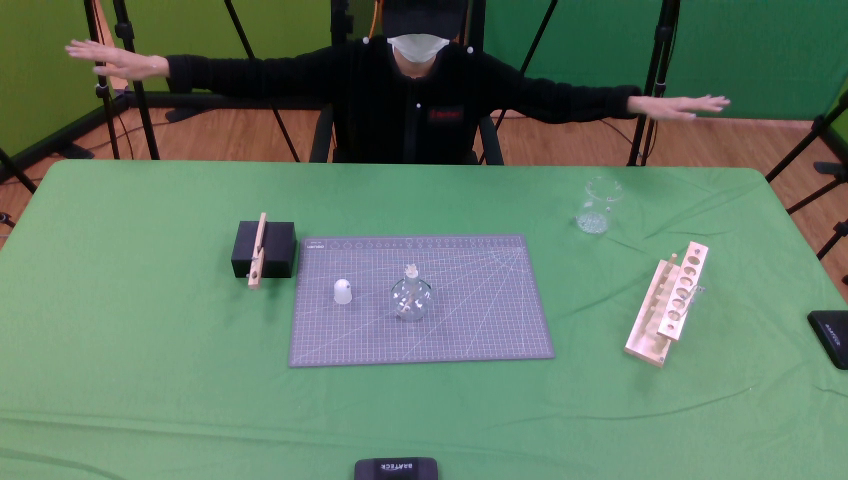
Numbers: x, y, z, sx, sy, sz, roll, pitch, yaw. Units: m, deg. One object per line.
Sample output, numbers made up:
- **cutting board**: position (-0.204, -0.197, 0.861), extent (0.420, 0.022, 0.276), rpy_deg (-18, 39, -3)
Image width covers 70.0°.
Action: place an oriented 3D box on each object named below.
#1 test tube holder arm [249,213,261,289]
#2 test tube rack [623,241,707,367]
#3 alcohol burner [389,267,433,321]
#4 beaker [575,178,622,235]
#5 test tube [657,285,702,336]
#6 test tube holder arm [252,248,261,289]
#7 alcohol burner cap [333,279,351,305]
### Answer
- **test tube holder arm**: position (-0.305, 0.016, 1.096), extent (0.013, 0.015, 0.177), rpy_deg (3, 45, -15)
- **test tube rack**: position (0.435, 0.104, 1.089), extent (0.066, 0.085, 0.242), rpy_deg (24, 49, 18)
- **alcohol burner**: position (-0.022, 0.085, 1.046), extent (0.078, 0.119, 0.077), rpy_deg (2, 48, -2)
- **beaker**: position (0.356, -0.068, 1.239), extent (0.084, 0.101, 0.073), rpy_deg (-18, 50, -21)
- **test tube**: position (0.418, 0.121, 1.000), extent (0.017, 0.151, 0.017), rpy_deg (4, 51, -4)
- **test tube holder arm**: position (-0.294, 0.049, 1.066), extent (0.010, 0.015, 0.087), rpy_deg (4, 45, -14)
- **alcohol burner cap**: position (-0.148, 0.090, 1.083), extent (0.034, 0.048, 0.033), rpy_deg (3, 47, -2)
